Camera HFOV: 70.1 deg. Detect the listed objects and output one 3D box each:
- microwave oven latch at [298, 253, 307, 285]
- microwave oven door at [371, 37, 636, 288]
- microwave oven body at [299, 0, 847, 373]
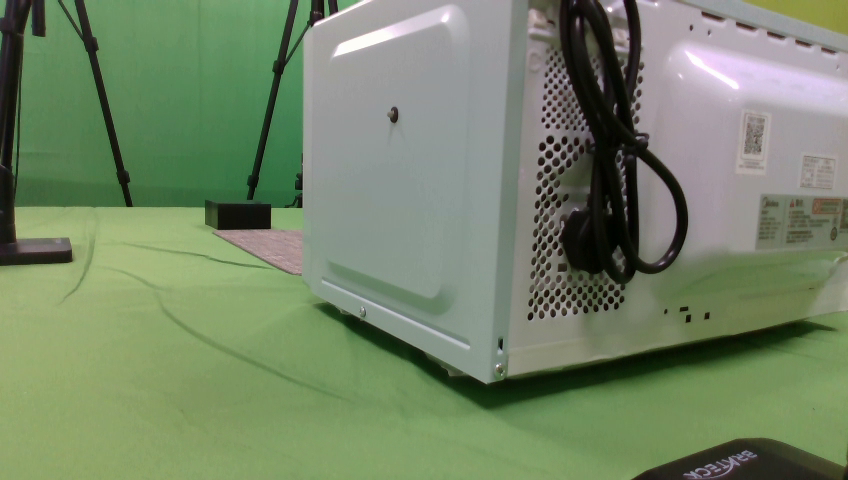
[{"bbox_3d":[-0.081,0.027,0.582,0.079,0.029,0.030,-1,7,-31],"label":"microwave oven latch"},{"bbox_3d":[0.109,-0.080,0.686,0.358,0.243,0.039,-2,9,-33],"label":"microwave oven door"},{"bbox_3d":[0.151,-0.055,0.543,0.444,0.260,0.324,-2,8,-33],"label":"microwave oven body"}]
